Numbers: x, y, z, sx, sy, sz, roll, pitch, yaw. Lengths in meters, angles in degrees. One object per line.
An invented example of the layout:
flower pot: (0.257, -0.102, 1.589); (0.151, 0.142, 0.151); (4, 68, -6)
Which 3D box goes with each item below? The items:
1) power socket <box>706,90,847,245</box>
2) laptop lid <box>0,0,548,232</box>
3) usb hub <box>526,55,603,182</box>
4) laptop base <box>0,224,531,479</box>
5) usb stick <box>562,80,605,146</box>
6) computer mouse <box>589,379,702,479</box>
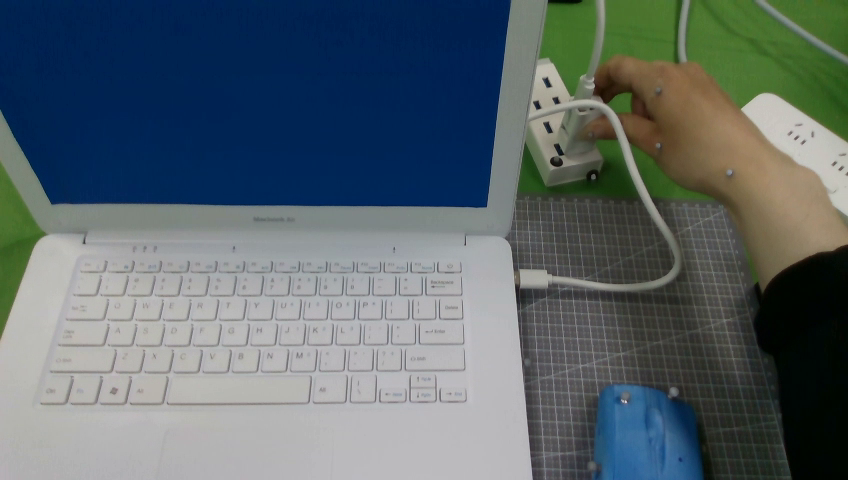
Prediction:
power socket: (0.344, -0.044, 0.497); (0.072, 0.033, 0.225); (-35, 66, -22)
laptop lid: (-0.108, -0.090, 0.379); (0.357, 0.244, 0.013); (-1, 45, -1)
usb hub: (0.108, -0.109, 0.532); (0.049, 0.025, 0.124); (-12, 60, -9)
laptop base: (-0.110, 0.095, 0.403); (0.354, 0.023, 0.233); (0, 62, -2)
usb stick: (0.128, -0.096, 0.483); (0.027, 0.060, 0.021); (-44, 50, -13)
computer mouse: (0.134, 0.140, 0.371); (0.062, 0.041, 0.116); (12, 54, 8)
